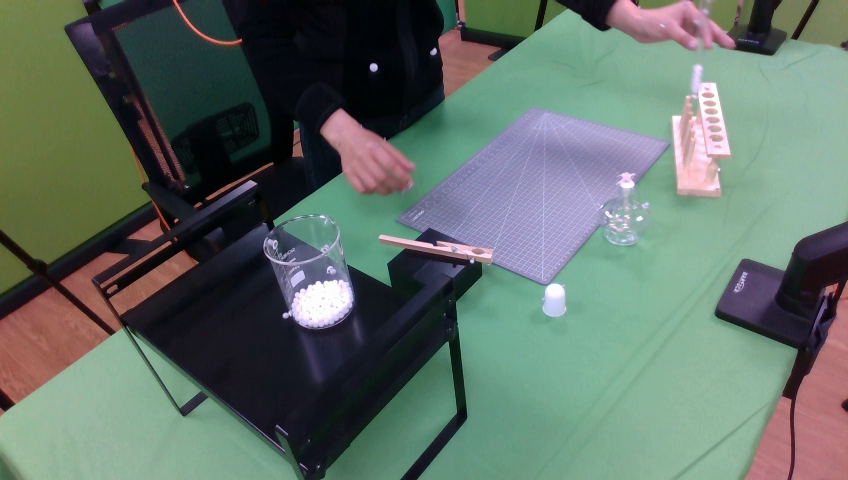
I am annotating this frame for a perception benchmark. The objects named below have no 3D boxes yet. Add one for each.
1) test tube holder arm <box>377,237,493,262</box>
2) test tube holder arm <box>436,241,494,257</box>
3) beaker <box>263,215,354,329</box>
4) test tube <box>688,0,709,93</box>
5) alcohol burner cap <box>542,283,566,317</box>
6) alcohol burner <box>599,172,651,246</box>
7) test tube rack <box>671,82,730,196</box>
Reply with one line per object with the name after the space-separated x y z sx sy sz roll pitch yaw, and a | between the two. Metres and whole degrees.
0.014 0.013 0.888 0.177 0.015 0.013 6 45 17 | test tube holder arm
0.058 0.015 0.877 0.087 0.015 0.010 7 45 18 | test tube holder arm
-0.112 0.034 0.616 0.073 0.101 0.084 13 44 23 | beaker
0.431 -0.305 0.951 0.017 0.151 0.017 -5 30 3 | test tube
0.181 0.081 0.840 0.034 0.048 0.033 -4 40 4 | alcohol burner cap
0.306 -0.051 0.918 0.078 0.119 0.077 -6 41 5 | alcohol burner
0.482 -0.184 1.067 0.066 0.085 0.242 6 42 14 | test tube rack
